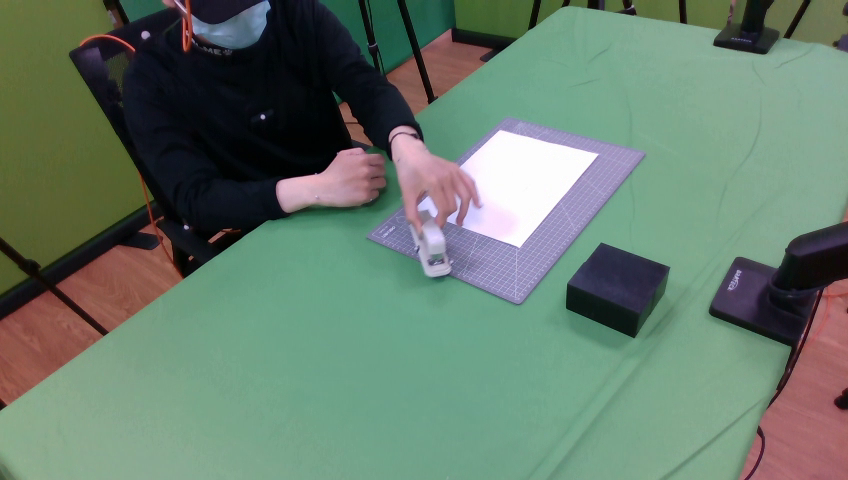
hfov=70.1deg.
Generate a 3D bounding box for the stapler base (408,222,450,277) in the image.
[{"bbox_3d":[0.007,0.005,0.943,0.041,0.024,0.129,-7,39,-11],"label":"stapler base"}]

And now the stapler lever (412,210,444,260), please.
[{"bbox_3d":[0.006,-0.015,0.928,0.027,0.040,0.117,-8,39,-11],"label":"stapler lever"}]
